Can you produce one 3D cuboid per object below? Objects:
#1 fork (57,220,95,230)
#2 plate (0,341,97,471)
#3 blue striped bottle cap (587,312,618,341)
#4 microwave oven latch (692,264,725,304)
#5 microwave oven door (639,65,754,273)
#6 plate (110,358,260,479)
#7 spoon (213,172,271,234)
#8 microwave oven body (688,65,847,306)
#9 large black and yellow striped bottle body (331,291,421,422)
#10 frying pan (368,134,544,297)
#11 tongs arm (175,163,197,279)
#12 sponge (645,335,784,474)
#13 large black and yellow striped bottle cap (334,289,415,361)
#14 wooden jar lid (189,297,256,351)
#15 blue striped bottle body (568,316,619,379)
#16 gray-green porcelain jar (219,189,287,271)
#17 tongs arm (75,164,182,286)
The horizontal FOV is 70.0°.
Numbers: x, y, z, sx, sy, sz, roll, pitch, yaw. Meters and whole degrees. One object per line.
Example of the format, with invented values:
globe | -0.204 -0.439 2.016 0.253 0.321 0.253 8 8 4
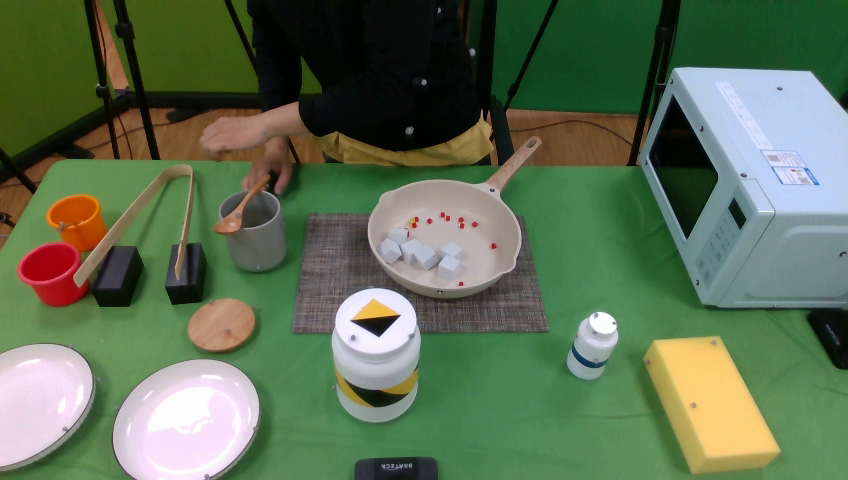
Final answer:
fork | -0.624 -0.027 1.086 0.028 0.207 0.018 -3 92 -17
plate | -0.599 0.247 0.904 0.209 0.038 0.208 2 47 -2
blue striped bottle cap | 0.279 0.134 0.947 0.044 0.021 0.044 2 44 -2
microwave oven latch | 0.522 0.081 1.116 0.030 0.029 0.078 1 46 -2
microwave oven door | 0.522 -0.147 1.193 0.039 0.245 0.353 0 47 -3
plate | -0.349 0.273 0.899 0.208 0.039 0.206 2 46 -2
spoon | -0.312 -0.069 1.069 0.041 0.022 0.193 9 43 11
microwave oven body | 0.669 -0.111 1.176 0.326 0.261 0.439 0 46 -3
large black and yellow striped bottle body | -0.071 0.175 0.911 0.131 0.185 0.130 2 47 -2
frying pan | 0.104 -0.069 1.205 0.305 0.103 0.487 32 61 23
tongs arm | -0.462 -0.049 1.149 0.051 0.026 0.382 -8 36 -7
sponge | 0.449 0.253 0.956 0.118 0.061 0.205 -4 46 -7
large black and yellow striped bottle cap | -0.069 0.117 0.850 0.115 0.019 0.114 2 45 -2
wooden jar lid | -0.342 0.145 1.033 0.108 0.021 0.107 2 45 -2
blue striped bottle body | 0.276 0.169 0.984 0.063 0.121 0.062 2 46 -2
gray-green porcelain jar | -0.310 -0.014 1.113 0.106 0.127 0.105 2 46 -2
tongs arm | -0.547 -0.043 1.143 0.028 0.028 0.385 -3 34 7
